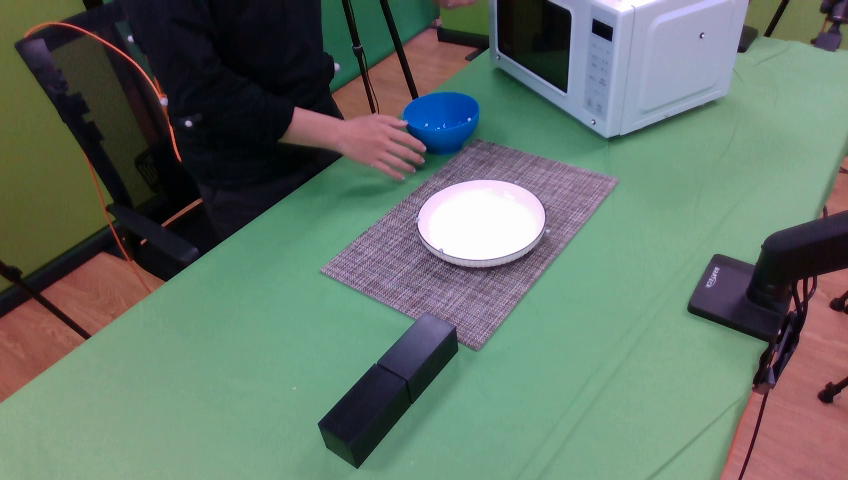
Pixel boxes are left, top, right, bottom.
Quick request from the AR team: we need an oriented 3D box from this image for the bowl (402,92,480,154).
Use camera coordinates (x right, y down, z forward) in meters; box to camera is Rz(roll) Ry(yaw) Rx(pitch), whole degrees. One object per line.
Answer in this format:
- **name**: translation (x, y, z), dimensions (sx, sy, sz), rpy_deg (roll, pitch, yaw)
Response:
- **bowl**: translation (0.036, -0.220, 1.180), dimensions (0.151, 0.077, 0.150), rpy_deg (-4, 40, 4)

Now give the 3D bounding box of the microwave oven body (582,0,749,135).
- **microwave oven body**: translation (0.382, -0.444, 1.246), dimensions (0.327, 0.261, 0.437), rpy_deg (-22, 42, -16)

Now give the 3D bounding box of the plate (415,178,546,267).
- **plate**: translation (0.091, -0.026, 0.970), dimensions (0.207, 0.039, 0.206), rpy_deg (-4, 41, 4)

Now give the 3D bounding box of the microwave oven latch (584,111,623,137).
- **microwave oven latch**: translation (0.337, -0.222, 1.142), dimensions (0.030, 0.029, 0.078), rpy_deg (-21, 42, -14)

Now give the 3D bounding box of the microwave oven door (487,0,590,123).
- **microwave oven door**: translation (0.232, -0.420, 1.230), dimensions (0.039, 0.245, 0.352), rpy_deg (-22, 43, -16)
